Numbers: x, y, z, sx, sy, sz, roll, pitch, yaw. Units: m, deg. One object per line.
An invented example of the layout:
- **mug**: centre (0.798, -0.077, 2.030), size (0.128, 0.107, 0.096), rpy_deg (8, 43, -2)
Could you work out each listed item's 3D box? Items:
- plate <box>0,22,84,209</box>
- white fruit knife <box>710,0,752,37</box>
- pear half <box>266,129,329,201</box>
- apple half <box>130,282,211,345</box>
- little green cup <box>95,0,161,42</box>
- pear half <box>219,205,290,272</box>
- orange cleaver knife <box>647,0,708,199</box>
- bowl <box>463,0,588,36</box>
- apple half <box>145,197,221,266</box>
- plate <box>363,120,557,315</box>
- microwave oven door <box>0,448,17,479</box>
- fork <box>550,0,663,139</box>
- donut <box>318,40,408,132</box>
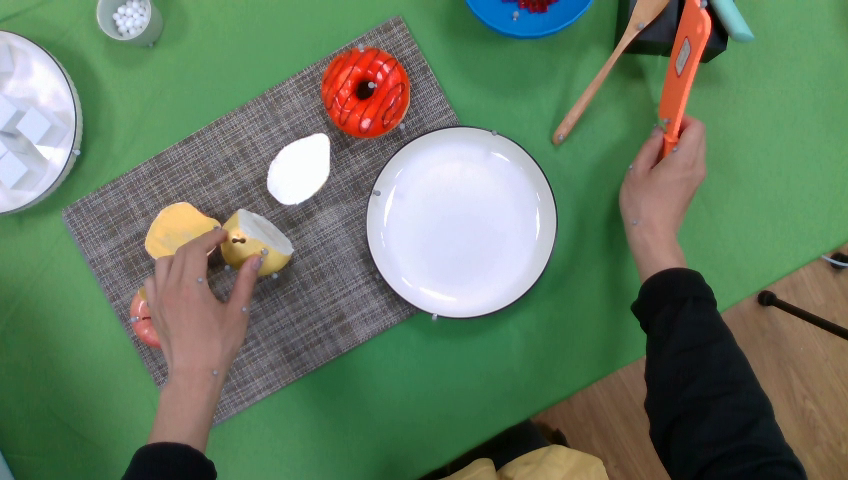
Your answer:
- **plate**: centre (-0.482, -0.137, 0.684), size (0.207, 0.039, 0.207), rpy_deg (0, 92, 3)
- **white fruit knife**: centre (0.273, -0.295, 0.610), size (0.027, 0.016, 0.207), rpy_deg (-27, 88, -26)
- **pear half**: centre (-0.133, -0.080, 0.670), size (0.070, 0.031, 0.088), rpy_deg (36, 84, 13)
- **apple half**: centre (-0.279, 0.085, 0.661), size (0.081, 0.074, 0.053), rpy_deg (25, 96, -2)
- **little green cup**: centre (-0.326, -0.251, 0.674), size (0.061, 0.038, 0.061), rpy_deg (0, 91, 3)
- **pear half**: centre (-0.188, 0.005, 0.636), size (0.076, 0.110, 0.056), rpy_deg (39, 95, 5)
- **orange cleaver knife**: centre (0.255, -0.146, 0.625), size (0.012, 0.076, 0.213), rpy_deg (2, 124, 2)
- **bowl**: centre (0.104, -0.281, 0.636), size (0.151, 0.077, 0.151), rpy_deg (0, 92, 2)
- **apple half**: centre (-0.266, -0.004, 0.674), size (0.081, 0.033, 0.080), rpy_deg (2, 68, -5)
- **plate**: centre (0.039, -0.024, 0.662), size (0.209, 0.038, 0.209), rpy_deg (0, 92, 2)
- **microwave oven door**: centre (-0.496, 0.263, 0.577), size (0.039, 0.244, 0.355), rpy_deg (-27, 90, 3)
- **fork**: centre (0.193, -0.192, 0.630), size (0.028, 0.018, 0.208), rpy_deg (30, 113, -5)
- **donut**: centre (-0.067, -0.166, 0.659), size (0.099, 0.048, 0.099), rpy_deg (0, 94, 5)
